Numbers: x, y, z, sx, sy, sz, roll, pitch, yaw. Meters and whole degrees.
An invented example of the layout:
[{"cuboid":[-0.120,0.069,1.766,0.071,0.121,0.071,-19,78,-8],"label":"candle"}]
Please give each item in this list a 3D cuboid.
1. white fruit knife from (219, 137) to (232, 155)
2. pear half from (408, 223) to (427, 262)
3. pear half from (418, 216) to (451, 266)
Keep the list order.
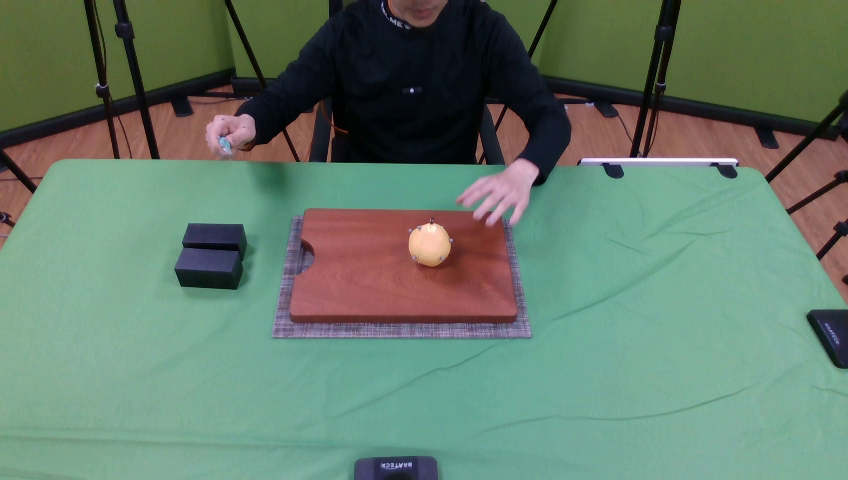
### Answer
[{"cuboid":[-0.338,-0.161,1.037,0.016,0.027,0.206,-45,22,-5],"label":"white fruit knife"},{"cuboid":[-0.013,0.000,1.107,0.031,0.088,0.070,8,53,2],"label":"pear half"},{"cuboid":[0.023,-0.001,1.096,0.056,0.110,0.076,9,50,3],"label":"pear half"}]
